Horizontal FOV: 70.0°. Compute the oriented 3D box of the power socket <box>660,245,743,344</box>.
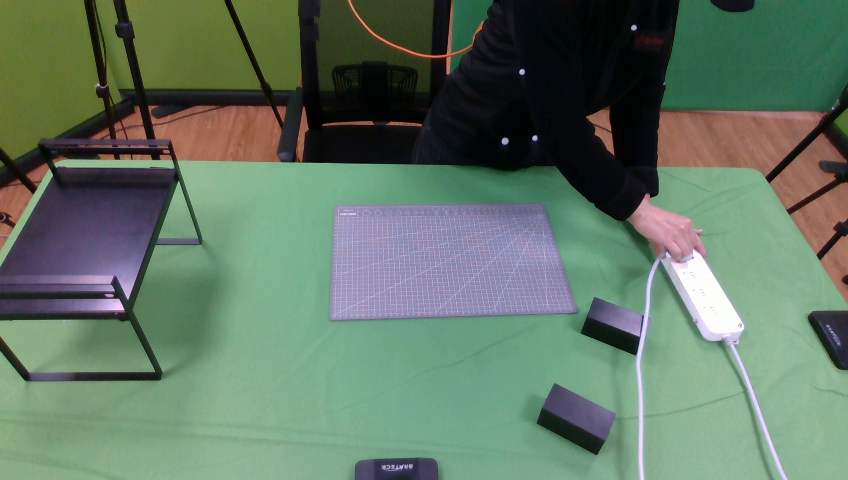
[{"bbox_3d":[0.516,0.094,1.136,0.072,0.033,0.225,-4,47,-7],"label":"power socket"}]

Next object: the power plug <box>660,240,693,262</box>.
[{"bbox_3d":[0.478,0.022,1.161,0.072,0.053,0.035,5,46,0],"label":"power plug"}]
